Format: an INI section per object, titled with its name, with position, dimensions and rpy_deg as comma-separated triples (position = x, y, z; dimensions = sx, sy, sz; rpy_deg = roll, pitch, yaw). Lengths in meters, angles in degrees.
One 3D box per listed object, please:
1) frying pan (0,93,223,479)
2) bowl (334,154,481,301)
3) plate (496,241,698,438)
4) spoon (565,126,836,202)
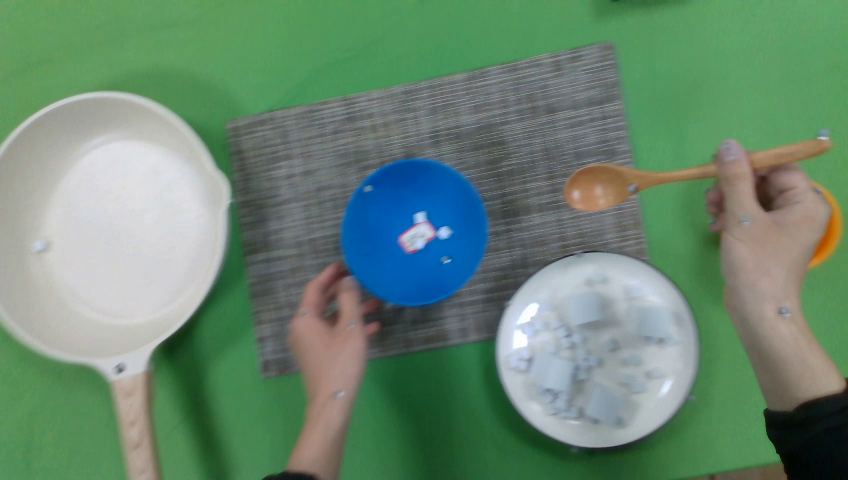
[frying pan]
position = -0.335, 0.084, 0.666
dimensions = 0.307, 0.103, 0.485
rpy_deg = -15, 79, 5
[bowl]
position = -0.014, -0.012, 0.649
dimensions = 0.151, 0.077, 0.151
rpy_deg = 0, 89, 5
[plate]
position = 0.181, 0.104, 0.651
dimensions = 0.207, 0.039, 0.207
rpy_deg = 0, 91, 5
[spoon]
position = 0.198, -0.057, 0.461
dimensions = 0.193, 0.021, 0.042
rpy_deg = -6, 113, 41
